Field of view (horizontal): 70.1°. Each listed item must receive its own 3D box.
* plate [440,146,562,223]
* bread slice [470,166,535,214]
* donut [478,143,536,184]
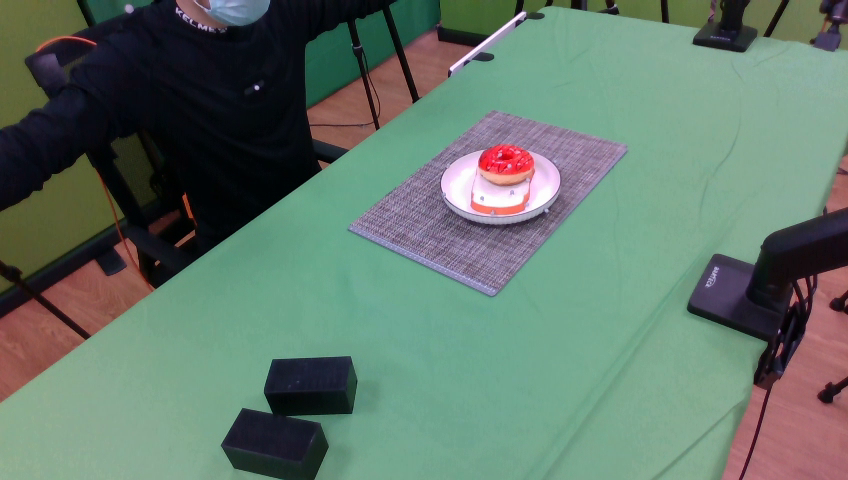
[{"bbox_3d":[0.131,-0.093,1.040,0.207,0.039,0.206,-4,41,4],"label":"plate"},{"bbox_3d":[0.134,-0.089,1.039,0.104,0.019,0.131,4,40,12],"label":"bread slice"},{"bbox_3d":[0.142,-0.132,1.040,0.099,0.048,0.098,-3,37,3],"label":"donut"}]
